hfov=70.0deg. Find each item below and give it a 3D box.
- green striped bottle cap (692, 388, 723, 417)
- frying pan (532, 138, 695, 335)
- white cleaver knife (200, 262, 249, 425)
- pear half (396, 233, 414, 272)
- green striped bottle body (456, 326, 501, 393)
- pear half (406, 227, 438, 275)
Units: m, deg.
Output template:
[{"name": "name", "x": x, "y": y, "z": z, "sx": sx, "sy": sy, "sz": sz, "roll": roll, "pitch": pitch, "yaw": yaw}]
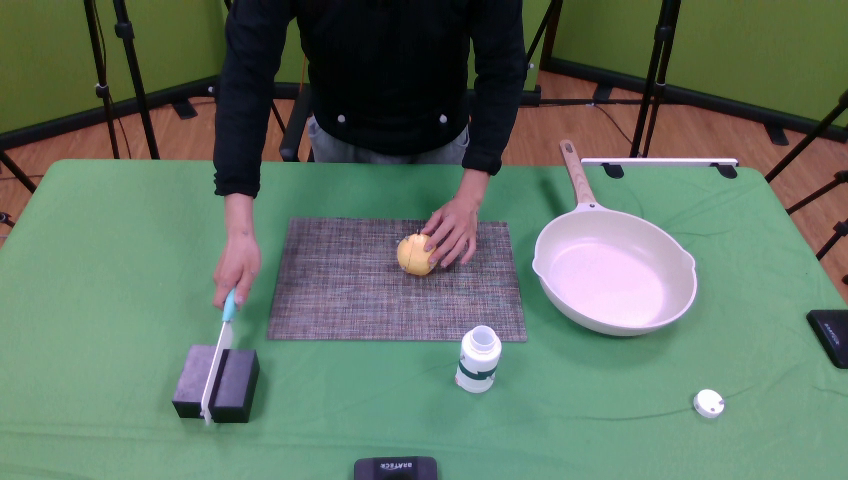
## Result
[{"name": "green striped bottle cap", "x": 0.460, "y": 0.263, "z": 0.984, "sx": 0.044, "sy": 0.020, "sz": 0.044, "roll": 3, "pitch": 46, "yaw": -3}, {"name": "frying pan", "x": 0.336, "y": -0.024, "z": 1.190, "sx": 0.307, "sy": 0.103, "sz": 0.484, "roll": -2, "pitch": 55, "yaw": -7}, {"name": "white cleaver knife", "x": -0.320, "y": 0.153, "z": 0.970, "sx": 0.021, "sy": 0.066, "sz": 0.284, "roll": 6, "pitch": 49, "yaw": -4}, {"name": "pear half", "x": -0.037, "y": 0.019, "z": 1.125, "sx": 0.031, "sy": 0.088, "sz": 0.070, "roll": 5, "pitch": 51, "yaw": 0}, {"name": "green striped bottle body", "x": 0.086, "y": 0.185, "z": 0.959, "sx": 0.063, "sy": 0.120, "sz": 0.063, "roll": 2, "pitch": 47, "yaw": -2}, {"name": "pear half", "x": -0.001, "y": 0.016, "z": 1.116, "sx": 0.056, "sy": 0.110, "sz": 0.076, "roll": 5, "pitch": 51, "yaw": -2}]
